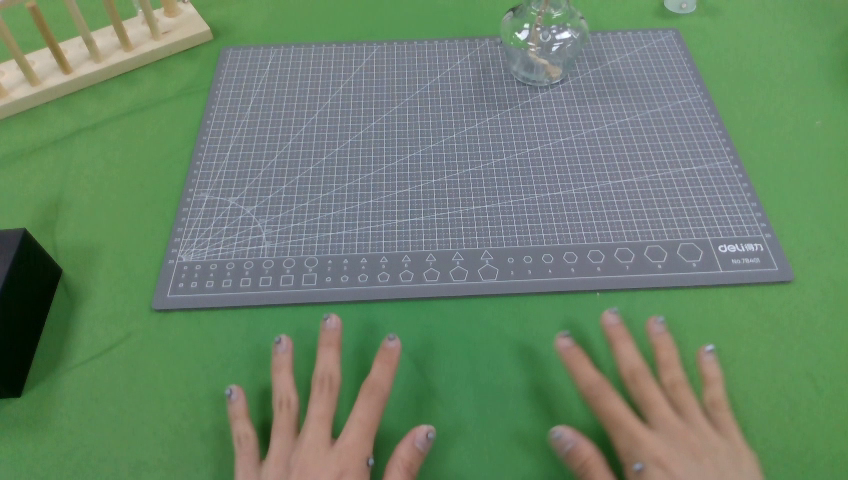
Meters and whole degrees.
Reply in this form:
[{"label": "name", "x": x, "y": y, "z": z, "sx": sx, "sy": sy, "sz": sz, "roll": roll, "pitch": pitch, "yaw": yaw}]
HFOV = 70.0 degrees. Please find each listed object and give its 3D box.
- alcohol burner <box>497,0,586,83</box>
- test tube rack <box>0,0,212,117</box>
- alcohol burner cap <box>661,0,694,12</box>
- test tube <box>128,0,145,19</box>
[{"label": "alcohol burner", "x": 0.103, "y": -0.198, "z": 0.522, "sx": 0.078, "sy": 0.120, "sz": 0.077, "roll": 0, "pitch": 52, "yaw": 1}, {"label": "test tube rack", "x": -0.332, "y": -0.195, "z": 0.553, "sx": 0.242, "sy": 0.086, "sz": 0.066, "roll": -29, "pitch": 57, "yaw": -18}, {"label": "alcohol burner cap", "x": 0.262, "y": -0.259, "z": 0.612, "sx": 0.034, "sy": 0.048, "sz": 0.033, "roll": -1, "pitch": 53, "yaw": 2}, {"label": "test tube", "x": -0.285, "y": -0.270, "z": 0.546, "sx": 0.017, "sy": 0.152, "sz": 0.017, "roll": -3, "pitch": 51, "yaw": 4}]
